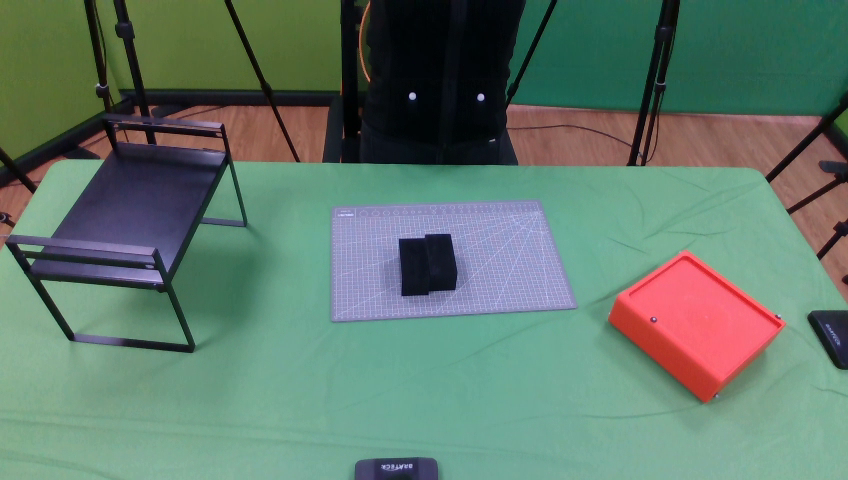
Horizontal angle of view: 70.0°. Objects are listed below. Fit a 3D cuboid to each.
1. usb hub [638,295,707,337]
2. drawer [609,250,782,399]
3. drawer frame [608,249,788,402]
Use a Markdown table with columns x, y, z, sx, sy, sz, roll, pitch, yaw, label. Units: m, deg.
| x | y | z | sx | sy | sz | roll | pitch | yaw | label |
| --- | --- | --- | --- | --- | --- | --- | --- | --- | --- |
| 0.440 | 0.134 | 1.072 | 0.125 | 0.025 | 0.049 | -15 | 35 | -28 | usb hub |
| 0.469 | 0.140 | 1.057 | 0.194 | 0.073 | 0.210 | -28 | 55 | -27 | drawer |
| 0.470 | 0.139 | 1.053 | 0.202 | 0.083 | 0.212 | -28 | 55 | -28 | drawer frame |
